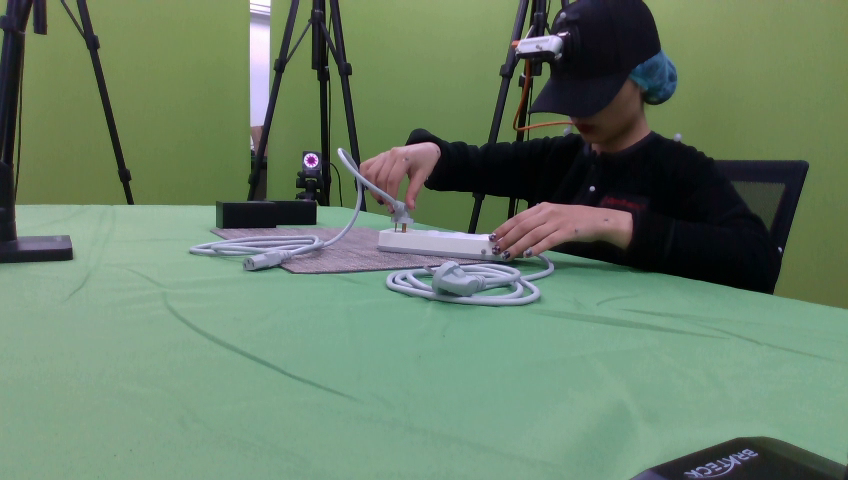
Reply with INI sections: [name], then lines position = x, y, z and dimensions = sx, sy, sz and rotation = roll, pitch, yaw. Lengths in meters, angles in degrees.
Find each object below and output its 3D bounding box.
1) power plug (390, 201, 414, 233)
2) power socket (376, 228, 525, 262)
[power plug]
position = -0.042, -0.031, 0.905
dimensions = 0.035, 0.052, 0.073
rotation = 3, -1, 29
[power socket]
position = 0.036, 0.005, 0.912
dimensions = 0.226, 0.032, 0.072
rotation = 5, 8, 16
